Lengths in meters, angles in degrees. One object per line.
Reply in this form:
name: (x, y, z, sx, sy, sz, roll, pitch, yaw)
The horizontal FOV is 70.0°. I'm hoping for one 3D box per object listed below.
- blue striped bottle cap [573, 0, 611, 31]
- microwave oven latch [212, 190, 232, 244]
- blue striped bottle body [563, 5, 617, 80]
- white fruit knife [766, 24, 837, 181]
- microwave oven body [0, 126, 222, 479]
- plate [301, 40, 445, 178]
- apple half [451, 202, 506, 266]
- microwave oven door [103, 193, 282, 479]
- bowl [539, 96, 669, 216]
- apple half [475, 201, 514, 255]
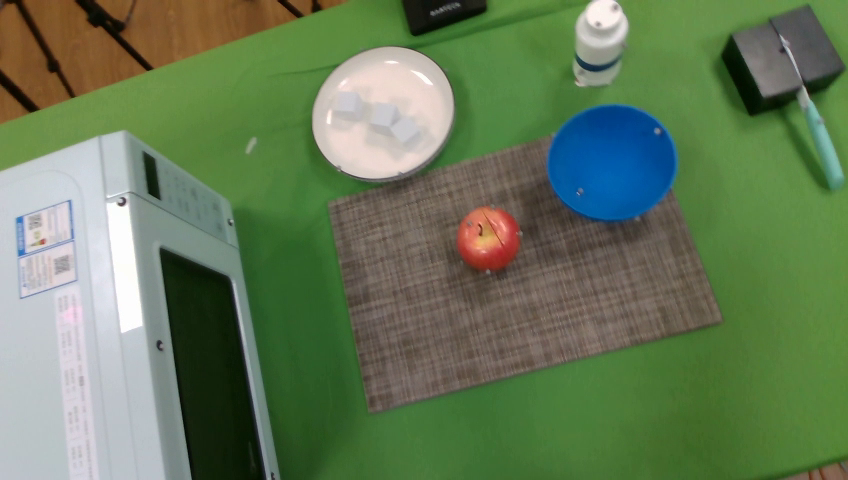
blue striped bottle cap: (0.205, -0.279, 0.738, 0.044, 0.021, 0.044, -2, 74, 8)
microwave oven latch: (-0.292, -0.029, 0.845, 0.030, 0.030, 0.078, -18, 74, 5)
blue striped bottle body: (0.215, -0.265, 0.786, 0.063, 0.121, 0.062, -3, 75, 10)
white fruit knife: (0.461, -0.172, 0.744, 0.016, 0.027, 0.207, -19, 84, 4)
microwave oven body: (-0.403, 0.153, 0.717, 0.326, 0.262, 0.439, -18, 74, 5)
plate: (-0.071, -0.182, 0.863, 0.207, 0.039, 0.206, -2, 76, 10)
apple half: (0.063, -0.001, 0.768, 0.053, 0.075, 0.080, -32, 75, 6)
microwave oven door: (-0.254, 0.145, 0.686, 0.039, 0.245, 0.353, -19, 73, 6)
bowl: (0.221, -0.094, 0.759, 0.151, 0.077, 0.150, -3, 75, 11)
apple half: (0.095, -0.020, 0.766, 0.033, 0.082, 0.080, -31, 72, 5)
